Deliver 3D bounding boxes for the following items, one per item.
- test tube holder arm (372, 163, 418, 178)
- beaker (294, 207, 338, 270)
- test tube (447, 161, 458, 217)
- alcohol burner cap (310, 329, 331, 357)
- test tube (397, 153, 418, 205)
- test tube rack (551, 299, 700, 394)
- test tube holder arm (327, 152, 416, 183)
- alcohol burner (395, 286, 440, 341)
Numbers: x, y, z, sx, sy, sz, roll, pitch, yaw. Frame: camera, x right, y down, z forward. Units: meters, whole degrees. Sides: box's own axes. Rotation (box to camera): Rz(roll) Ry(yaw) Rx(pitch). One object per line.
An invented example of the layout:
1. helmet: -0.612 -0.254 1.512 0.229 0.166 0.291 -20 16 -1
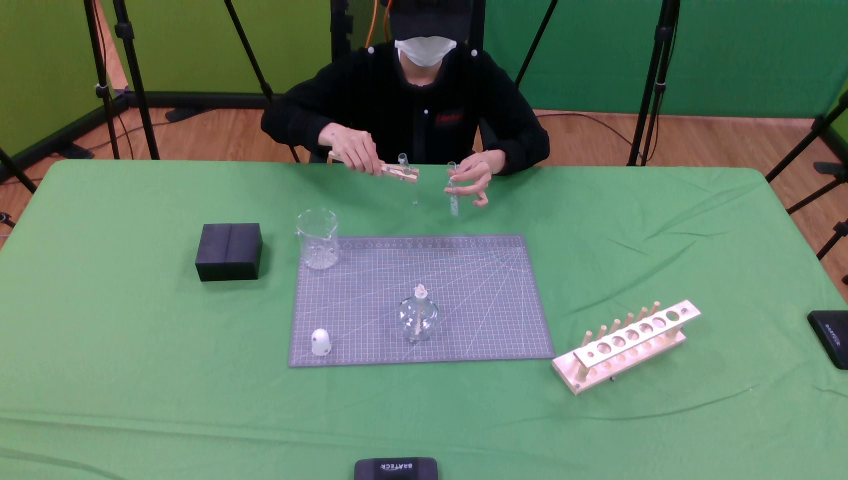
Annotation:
1. test tube holder arm: -0.056 -0.133 1.151 0.088 0.015 0.010 10 54 3
2. beaker: -0.196 0.003 1.123 0.074 0.101 0.083 -23 53 -24
3. test tube: 0.055 -0.094 1.161 0.017 0.151 0.017 -2 53 3
4. alcohol burner cap: -0.173 0.168 1.004 0.034 0.048 0.033 2 46 -2
5. test tube: -0.030 -0.114 1.163 0.017 0.151 0.017 -4 58 7
6. test tube rack: 0.339 0.166 1.021 0.242 0.085 0.066 -19 50 -21
7. test tube holder arm: -0.101 -0.139 1.152 0.178 0.015 0.013 15 54 7
8. alcohol burner: -0.010 0.116 1.018 0.078 0.119 0.077 3 47 -3
